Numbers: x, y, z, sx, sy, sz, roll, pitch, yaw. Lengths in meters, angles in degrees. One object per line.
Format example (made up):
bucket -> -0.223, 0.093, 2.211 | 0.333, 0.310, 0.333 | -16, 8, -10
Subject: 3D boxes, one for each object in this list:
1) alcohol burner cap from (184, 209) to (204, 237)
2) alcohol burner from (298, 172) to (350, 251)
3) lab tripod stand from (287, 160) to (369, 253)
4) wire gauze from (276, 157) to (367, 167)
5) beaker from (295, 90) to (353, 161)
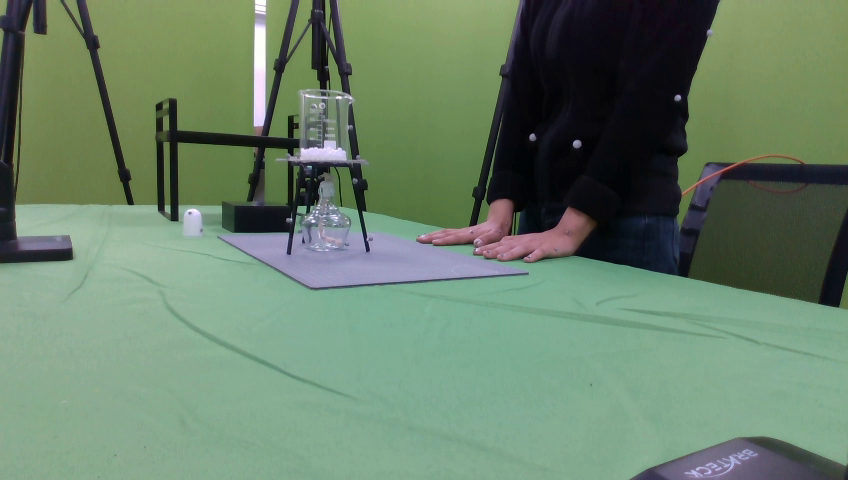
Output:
alcohol burner cap -> -0.390, -0.029, 1.025 | 0.034, 0.048, 0.034 | 2, 8, 0
alcohol burner -> -0.149, -0.043, 0.911 | 0.078, 0.119, 0.078 | 3, 5, 0
lab tripod stand -> -0.157, -0.053, 0.902 | 0.148, 0.131, 0.148 | 0, 7, 0
wire gauze -> -0.148, -0.117, 0.895 | 0.121, 0.011, 0.125 | 3, 5, -3
beaker -> -0.146, -0.164, 0.884 | 0.084, 0.100, 0.074 | 1, 7, -6
